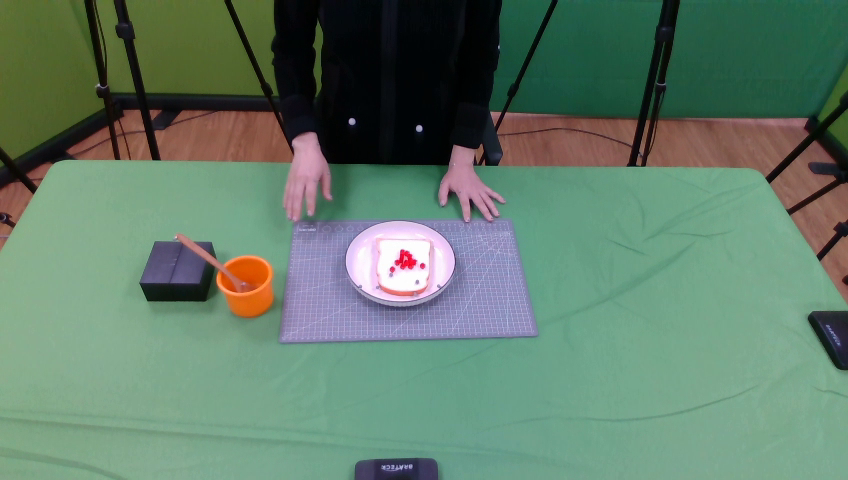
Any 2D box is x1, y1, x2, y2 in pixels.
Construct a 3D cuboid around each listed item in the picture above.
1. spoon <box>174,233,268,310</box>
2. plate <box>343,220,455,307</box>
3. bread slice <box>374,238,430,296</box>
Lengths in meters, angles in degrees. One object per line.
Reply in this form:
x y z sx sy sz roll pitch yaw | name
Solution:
-0.344 0.052 1.033 0.021 0.194 0.041 -19 32 43 | spoon
-0.047 0.046 1.135 0.209 0.038 0.208 2 46 -2 | plate
-0.039 0.048 1.135 0.107 0.018 0.133 -1 47 -4 | bread slice
